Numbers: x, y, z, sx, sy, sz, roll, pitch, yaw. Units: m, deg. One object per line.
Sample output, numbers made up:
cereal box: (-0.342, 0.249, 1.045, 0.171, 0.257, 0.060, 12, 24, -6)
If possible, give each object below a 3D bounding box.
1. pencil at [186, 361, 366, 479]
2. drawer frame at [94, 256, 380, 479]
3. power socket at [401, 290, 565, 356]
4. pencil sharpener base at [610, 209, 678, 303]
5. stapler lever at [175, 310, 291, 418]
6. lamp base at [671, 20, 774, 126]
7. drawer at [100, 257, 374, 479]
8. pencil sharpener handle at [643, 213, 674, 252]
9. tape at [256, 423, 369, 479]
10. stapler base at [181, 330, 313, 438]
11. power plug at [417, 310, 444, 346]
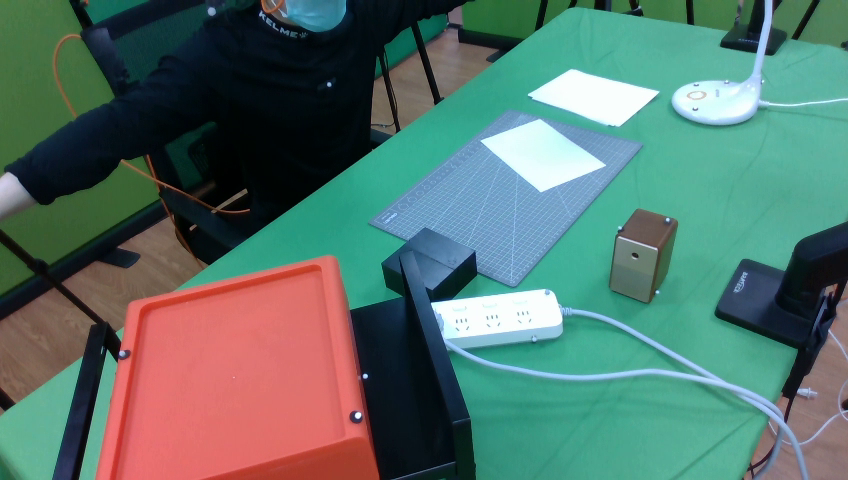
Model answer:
pencil: (-0.127, 0.159, 0.520, 0.195, 0.012, 0.012, -32, 46, -28)
drawer frame: (-0.155, 0.125, 0.525, 0.202, 0.083, 0.212, -13, 41, -8)
power socket: (0.080, 0.112, 0.822, 0.227, 0.033, 0.072, -6, 41, 0)
pencil sharpener base: (0.304, 0.021, 0.839, 0.061, 0.107, 0.077, 21, 48, 30)
stapler lever: (-0.173, 0.109, 0.546, 0.118, 0.040, 0.026, -36, 43, -20)
lamp base: (0.581, -0.332, 1.154, 0.179, 0.181, 0.160, 2, 41, 7)
drawer: (-0.158, 0.126, 0.526, 0.195, 0.073, 0.210, -13, 41, -7)
pencil sharpener handle: (0.337, -0.016, 0.857, 0.035, 0.068, 0.031, 1, 35, 44)
tape: (-0.121, 0.263, 0.660, 0.117, 0.053, 0.116, -4, 40, 4)
stapler base: (-0.166, 0.126, 0.564, 0.131, 0.024, 0.041, -36, 43, -20)
power plug: (0.006, 0.122, 0.785, 0.035, 0.053, 0.072, 0, 40, 8)
